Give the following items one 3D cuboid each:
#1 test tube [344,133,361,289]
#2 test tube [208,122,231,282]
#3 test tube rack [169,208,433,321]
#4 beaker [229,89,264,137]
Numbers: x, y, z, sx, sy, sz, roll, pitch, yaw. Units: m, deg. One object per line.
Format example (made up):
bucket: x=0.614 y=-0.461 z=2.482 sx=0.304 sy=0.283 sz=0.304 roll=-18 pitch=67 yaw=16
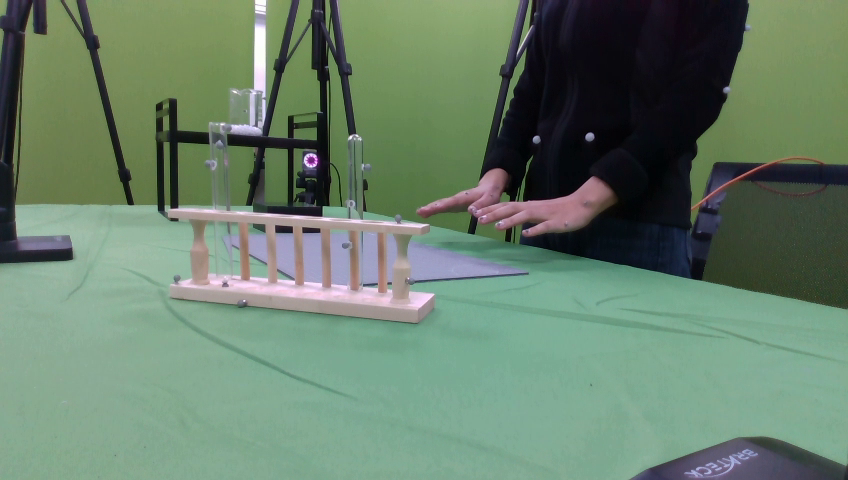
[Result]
test tube: x=-0.068 y=-0.025 z=0.575 sx=0.017 sy=0.150 sz=0.017 roll=1 pitch=11 yaw=0
test tube: x=-0.191 y=-0.034 z=0.565 sx=0.017 sy=0.150 sz=0.017 roll=1 pitch=11 yaw=0
test tube rack: x=-0.115 y=0.018 z=0.574 sx=0.242 sy=0.085 sz=0.067 roll=4 pitch=8 yaw=13
beaker: x=-0.391 y=-0.277 z=1.329 sx=0.074 sy=0.100 sz=0.084 roll=2 pitch=8 yaw=-1
